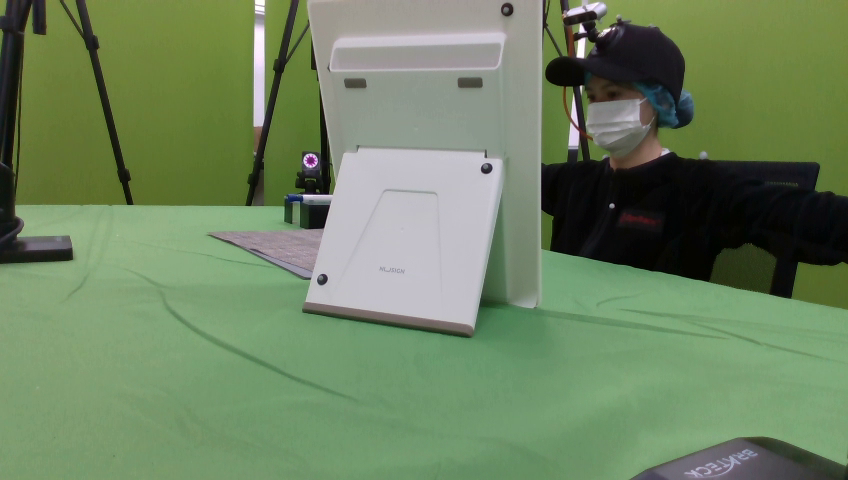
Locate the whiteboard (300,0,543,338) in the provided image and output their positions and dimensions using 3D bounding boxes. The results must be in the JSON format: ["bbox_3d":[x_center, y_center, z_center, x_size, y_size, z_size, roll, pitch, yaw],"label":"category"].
[{"bbox_3d":[-0.020,-0.050,0.523,0.216,0.305,0.144,6,28,22],"label":"whiteboard"}]

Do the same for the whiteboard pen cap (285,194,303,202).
[{"bbox_3d":[-0.261,-0.084,1.217,0.033,0.018,0.018,-4,10,-37],"label":"whiteboard pen cap"}]

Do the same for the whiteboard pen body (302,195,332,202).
[{"bbox_3d":[-0.211,-0.086,1.253,0.141,0.017,0.017,-2,9,-36],"label":"whiteboard pen body"}]
